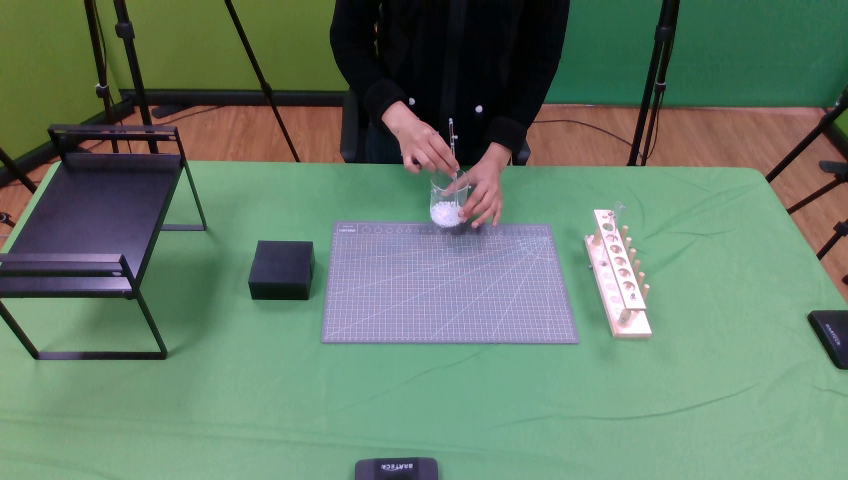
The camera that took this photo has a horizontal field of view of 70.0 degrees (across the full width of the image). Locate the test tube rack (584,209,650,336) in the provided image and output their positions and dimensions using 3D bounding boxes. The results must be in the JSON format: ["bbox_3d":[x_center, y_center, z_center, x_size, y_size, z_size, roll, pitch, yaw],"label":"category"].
[{"bbox_3d":[0.365,0.056,1.129,0.067,0.085,0.240,1,46,-4],"label":"test tube rack"}]

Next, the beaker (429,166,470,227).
[{"bbox_3d":[0.045,-0.082,1.173,0.074,0.101,0.083,-18,48,-20],"label":"beaker"}]

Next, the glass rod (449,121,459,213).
[{"bbox_3d":[0.057,-0.132,1.130,0.008,0.201,0.008,-4,39,4],"label":"glass rod"}]

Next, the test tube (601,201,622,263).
[{"bbox_3d":[0.346,-0.012,1.123,0.017,0.151,0.017,-2,44,2],"label":"test tube"}]
